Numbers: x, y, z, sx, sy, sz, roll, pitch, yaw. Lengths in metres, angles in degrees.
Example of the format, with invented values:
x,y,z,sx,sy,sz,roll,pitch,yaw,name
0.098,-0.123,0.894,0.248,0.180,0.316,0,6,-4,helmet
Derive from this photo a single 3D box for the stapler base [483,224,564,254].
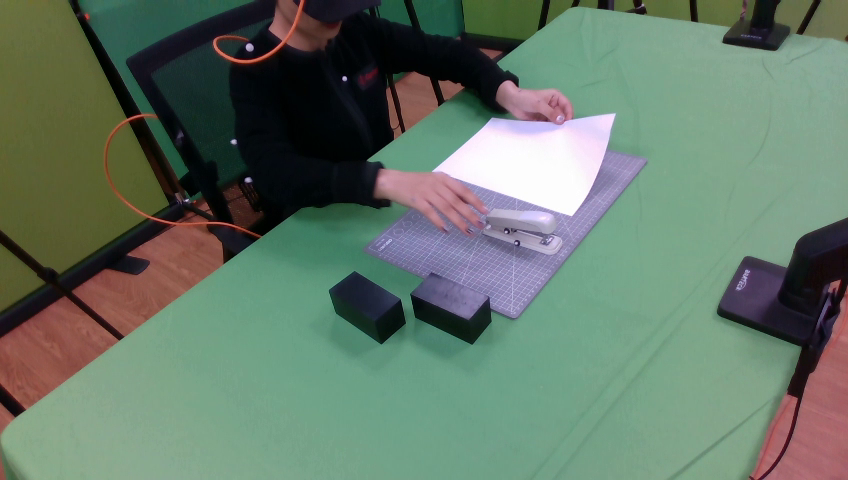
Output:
x,y,z,sx,sy,sz,roll,pitch,yaw,name
0.158,-0.012,0.962,0.129,0.024,0.041,17,45,31,stapler base

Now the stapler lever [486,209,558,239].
x,y,z,sx,sy,sz,roll,pitch,yaw,name
0.153,-0.032,0.947,0.117,0.040,0.027,17,45,31,stapler lever
